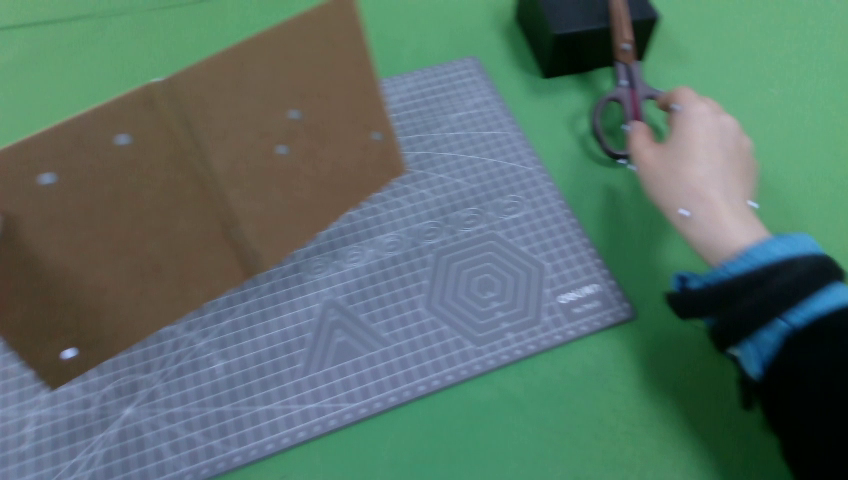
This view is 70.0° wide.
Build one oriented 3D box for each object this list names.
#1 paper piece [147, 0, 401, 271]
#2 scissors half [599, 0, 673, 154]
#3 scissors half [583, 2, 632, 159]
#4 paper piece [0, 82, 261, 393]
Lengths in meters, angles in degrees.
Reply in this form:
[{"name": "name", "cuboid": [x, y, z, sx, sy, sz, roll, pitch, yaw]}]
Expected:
[{"name": "paper piece", "cuboid": [-0.080, -0.068, 0.383, 0.135, 0.137, 0.004, -39, 40, -26]}, {"name": "scissors half", "cuboid": [0.176, -0.157, 0.520, 0.040, 0.013, 0.174, -15, 79, 0]}, {"name": "scissors half", "cuboid": [0.156, -0.154, 0.520, 0.040, 0.013, 0.174, 3, 79, -2]}, {"name": "paper piece", "cuboid": [-0.180, 0.003, 0.332, 0.138, 0.137, 0.008, -32, 35, -19]}]
